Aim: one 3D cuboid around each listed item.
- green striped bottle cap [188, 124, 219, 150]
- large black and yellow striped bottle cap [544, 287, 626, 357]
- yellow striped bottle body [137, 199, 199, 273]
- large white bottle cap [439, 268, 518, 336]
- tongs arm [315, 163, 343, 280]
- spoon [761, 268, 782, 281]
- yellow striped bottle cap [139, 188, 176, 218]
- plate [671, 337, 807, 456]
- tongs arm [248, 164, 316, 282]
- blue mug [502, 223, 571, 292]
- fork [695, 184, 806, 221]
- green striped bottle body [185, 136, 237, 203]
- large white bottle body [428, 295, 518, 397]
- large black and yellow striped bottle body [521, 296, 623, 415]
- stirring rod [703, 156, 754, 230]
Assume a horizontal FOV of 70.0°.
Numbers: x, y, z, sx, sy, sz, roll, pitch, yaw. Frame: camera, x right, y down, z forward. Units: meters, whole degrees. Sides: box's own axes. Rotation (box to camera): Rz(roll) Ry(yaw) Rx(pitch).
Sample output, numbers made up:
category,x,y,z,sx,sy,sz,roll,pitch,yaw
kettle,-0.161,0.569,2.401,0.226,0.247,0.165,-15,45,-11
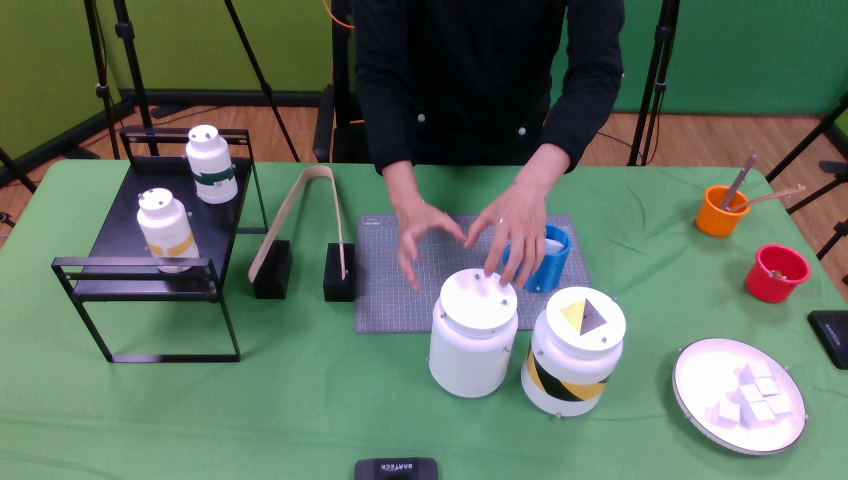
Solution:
category,x,y,z,sx,sy,sz,roll,pitch,yaw
green striped bottle cap,-0.339,-0.158,0.931,0.044,0.020,0.044,4,45,-4
large black and yellow striped bottle cap,0.232,0.116,0.876,0.115,0.019,0.114,2,46,-1
yellow striped bottle body,-0.366,-0.014,0.863,0.063,0.121,0.062,2,46,-2
large white bottle cap,0.079,0.089,0.888,0.115,0.018,0.114,2,47,-2
tongs arm,-0.187,-0.049,1.170,0.051,0.026,0.382,-6,35,-6
spoon,0.638,0.060,1.105,0.041,0.021,0.194,38,11,24
yellow striped bottle cap,-0.363,-0.050,0.826,0.044,0.019,0.044,1,47,-1
plate,0.504,0.253,0.984,0.208,0.039,0.206,2,46,-2
tongs arm,-0.269,-0.047,1.166,0.028,0.028,0.385,-1,34,7
blue mug,0.202,0.031,1.121,0.116,0.106,0.082,5,47,1
fork,0.657,-0.075,1.230,0.207,0.019,0.028,-23,34,37
green striped bottle body,-0.341,-0.122,0.968,0.063,0.120,0.063,2,46,-2
large white bottle body,0.075,0.147,0.950,0.131,0.185,0.130,2,46,-2
large black and yellow striped bottle body,0.228,0.173,0.938,0.131,0.185,0.130,2,47,-2
stirring rod,0.631,-0.098,1.258,0.014,0.006,0.176,33,95,29
